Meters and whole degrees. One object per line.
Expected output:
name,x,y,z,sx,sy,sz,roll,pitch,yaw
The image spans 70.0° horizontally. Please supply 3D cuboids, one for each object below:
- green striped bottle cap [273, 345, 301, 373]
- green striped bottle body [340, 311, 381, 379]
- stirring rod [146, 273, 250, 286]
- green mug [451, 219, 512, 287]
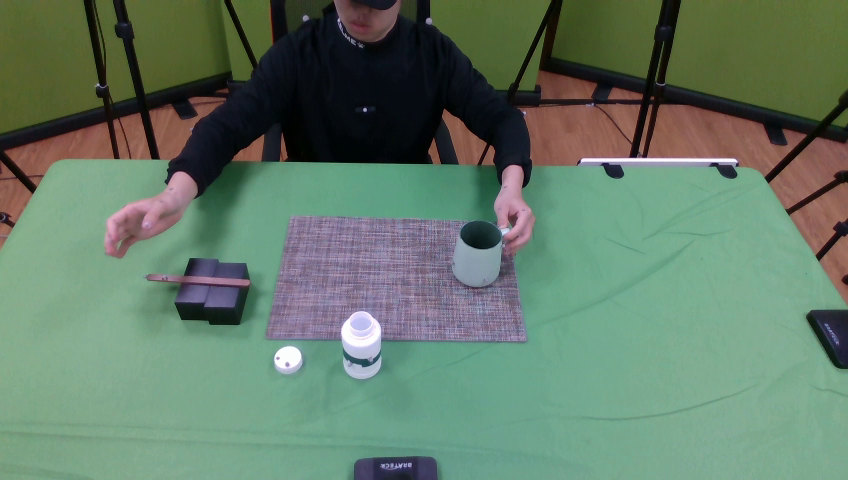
green striped bottle cap,-0.225,0.195,0.997,0.044,0.020,0.044,3,50,-3
green striped bottle body,-0.101,0.165,0.964,0.063,0.120,0.063,2,46,-2
stirring rod,-0.389,0.068,1.044,0.176,0.006,0.014,3,45,-1
green mug,0.112,0.019,1.125,0.125,0.105,0.092,-24,52,-25
